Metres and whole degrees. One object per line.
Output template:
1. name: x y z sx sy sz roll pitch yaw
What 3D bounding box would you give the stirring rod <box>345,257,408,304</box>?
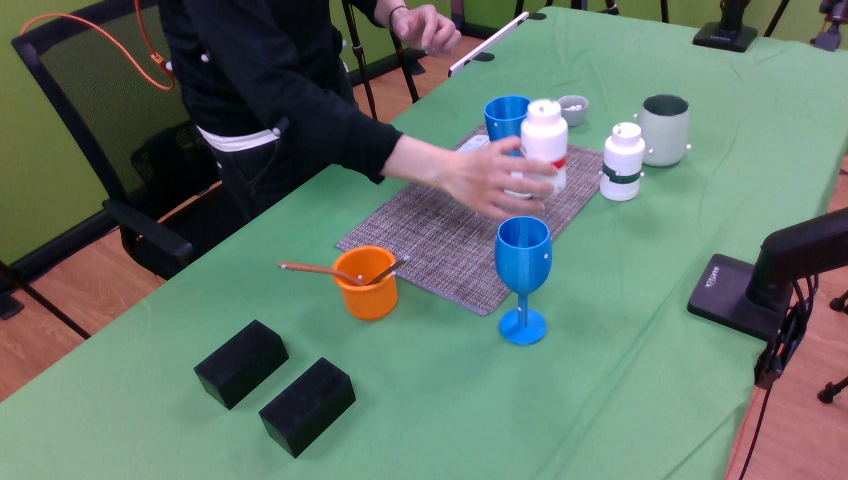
1. stirring rod: -0.067 0.057 0.814 0.014 0.175 0.006 -25 82 -38

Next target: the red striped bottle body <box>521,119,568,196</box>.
1. red striped bottle body: 0.168 -0.126 0.841 0.063 0.120 0.063 -5 37 4

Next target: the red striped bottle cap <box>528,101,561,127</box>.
1. red striped bottle cap: 0.161 -0.169 0.808 0.044 0.018 0.044 -3 39 3

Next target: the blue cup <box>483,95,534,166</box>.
1. blue cup: 0.150 -0.187 1.051 0.092 0.101 0.092 -6 41 6

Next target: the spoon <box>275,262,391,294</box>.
1. spoon: -0.120 0.050 0.830 0.041 0.195 0.021 31 97 45

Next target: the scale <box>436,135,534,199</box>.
1. scale: 0.137 -0.142 1.101 0.199 0.032 0.149 22 48 30

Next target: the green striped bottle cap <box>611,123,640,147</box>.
1. green striped bottle cap: 0.322 -0.168 0.963 0.044 0.020 0.044 -3 41 4

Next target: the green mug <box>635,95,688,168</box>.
1. green mug: 0.421 -0.201 1.081 0.092 0.105 0.125 5 42 15

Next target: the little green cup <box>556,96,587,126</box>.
1. little green cup: 0.295 -0.258 1.214 0.061 0.039 0.061 -4 42 4

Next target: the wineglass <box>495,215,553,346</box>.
1. wineglass: 0.127 0.054 0.770 0.074 0.173 0.073 -4 40 4

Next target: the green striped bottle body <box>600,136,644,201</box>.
1. green striped bottle body: 0.326 -0.128 0.997 0.063 0.120 0.063 -4 41 4
